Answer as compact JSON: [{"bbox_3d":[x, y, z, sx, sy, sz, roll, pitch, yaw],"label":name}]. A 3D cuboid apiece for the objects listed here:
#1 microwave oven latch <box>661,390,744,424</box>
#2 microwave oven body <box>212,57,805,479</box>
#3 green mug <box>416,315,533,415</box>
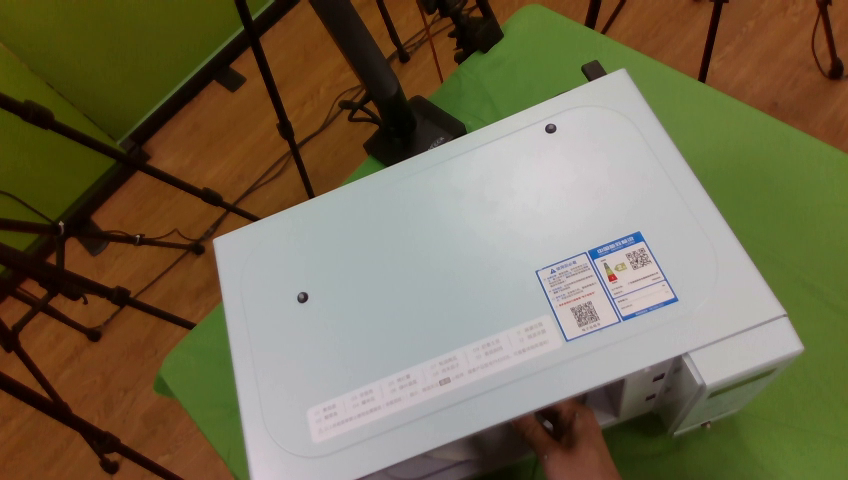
[{"bbox_3d":[0.292,0.166,0.635,0.079,0.030,0.030,-21,62,5],"label":"microwave oven latch"},{"bbox_3d":[0.060,0.072,0.633,0.442,0.262,0.322,-23,62,4],"label":"microwave oven body"},{"bbox_3d":[0.054,0.136,0.617,0.124,0.106,0.092,28,77,22],"label":"green mug"}]
